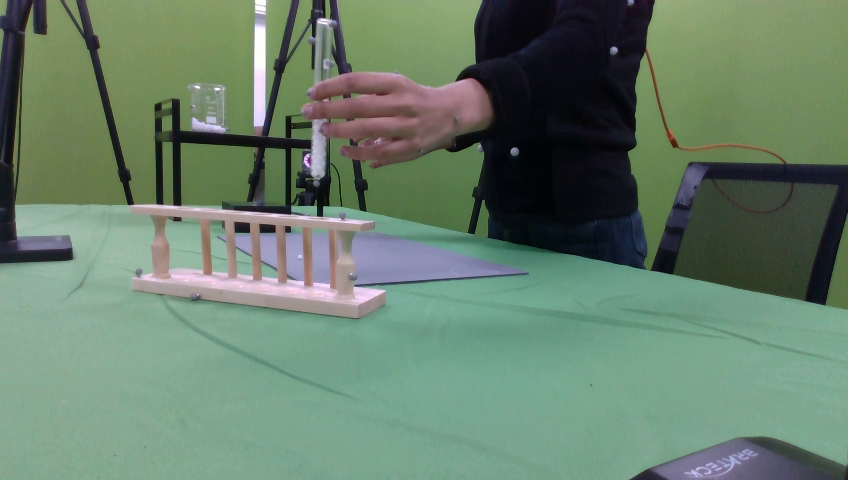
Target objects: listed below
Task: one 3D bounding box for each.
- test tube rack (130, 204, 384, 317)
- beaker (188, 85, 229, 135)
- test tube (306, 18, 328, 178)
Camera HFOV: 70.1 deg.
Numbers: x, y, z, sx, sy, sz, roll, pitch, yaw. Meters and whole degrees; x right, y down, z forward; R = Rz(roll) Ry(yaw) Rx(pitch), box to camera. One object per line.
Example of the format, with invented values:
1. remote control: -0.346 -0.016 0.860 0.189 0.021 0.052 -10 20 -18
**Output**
1. test tube rack: -0.163 0.013 0.589 0.242 0.085 0.067 5 8 17
2. beaker: -0.457 -0.275 1.283 0.084 0.100 0.073 -5 9 -40
3. test tube: -0.103 -0.134 0.580 0.017 0.150 0.017 4 8 0
